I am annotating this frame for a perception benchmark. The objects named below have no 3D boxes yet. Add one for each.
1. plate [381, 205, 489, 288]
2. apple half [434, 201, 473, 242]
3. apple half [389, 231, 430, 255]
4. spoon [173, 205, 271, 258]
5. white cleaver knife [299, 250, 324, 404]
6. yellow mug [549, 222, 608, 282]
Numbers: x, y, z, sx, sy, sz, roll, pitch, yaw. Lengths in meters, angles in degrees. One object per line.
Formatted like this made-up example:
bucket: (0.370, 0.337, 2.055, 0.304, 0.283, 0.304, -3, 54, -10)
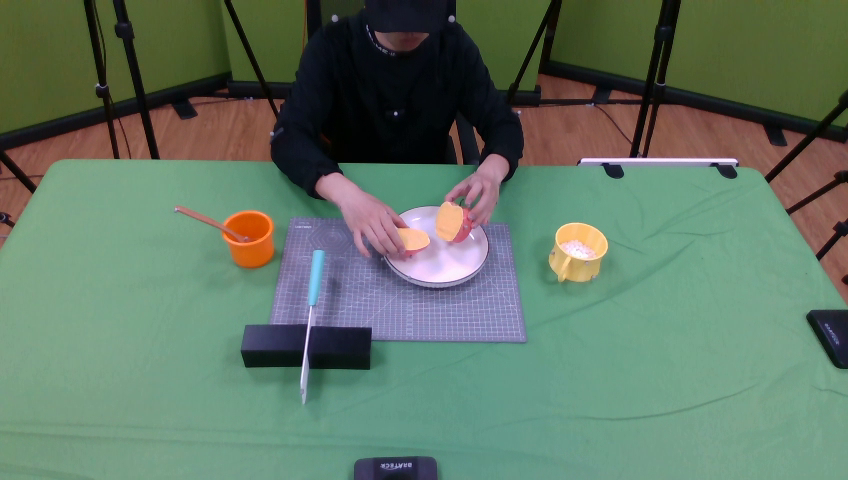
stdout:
plate: (0.021, 0.015, 1.170, 0.209, 0.038, 0.208, 2, 46, -2)
apple half: (0.062, -0.033, 1.160, 0.053, 0.074, 0.080, 11, 6, -40)
apple half: (-0.029, 0.011, 1.150, 0.081, 0.033, 0.081, 15, 16, -4)
spoon: (-0.362, -0.017, 1.098, 0.021, 0.195, 0.041, -32, 42, 27)
white cleaver knife: (-0.194, 0.134, 1.019, 0.021, 0.066, 0.284, 5, 50, -6)
yellow mug: (0.287, 0.031, 1.159, 0.099, 0.064, 0.130, 27, 51, 21)
